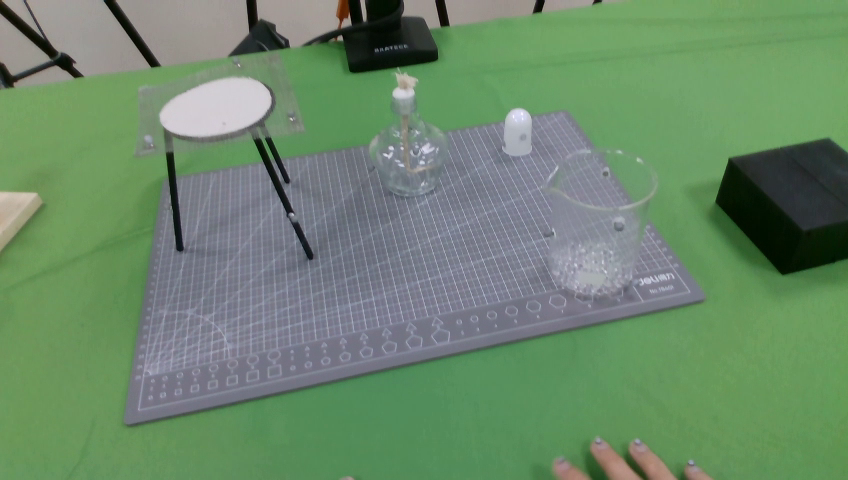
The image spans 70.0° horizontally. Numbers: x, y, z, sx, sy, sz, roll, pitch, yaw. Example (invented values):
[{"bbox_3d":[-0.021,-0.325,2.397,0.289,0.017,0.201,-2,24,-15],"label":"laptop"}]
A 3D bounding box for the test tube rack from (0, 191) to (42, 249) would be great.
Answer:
[{"bbox_3d":[-0.445,0.010,0.518,0.066,0.086,0.240,3,44,7],"label":"test tube rack"}]

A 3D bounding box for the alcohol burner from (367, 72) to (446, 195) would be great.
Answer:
[{"bbox_3d":[-0.018,-0.104,0.578,0.078,0.120,0.077,-3,42,3],"label":"alcohol burner"}]

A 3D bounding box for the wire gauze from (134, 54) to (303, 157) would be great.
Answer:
[{"bbox_3d":[-0.167,-0.109,0.483,0.125,0.011,0.120,-15,44,-10],"label":"wire gauze"}]

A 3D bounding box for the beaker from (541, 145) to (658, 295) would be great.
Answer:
[{"bbox_3d":[0.133,-0.012,0.479,0.084,0.101,0.073,-3,43,3],"label":"beaker"}]

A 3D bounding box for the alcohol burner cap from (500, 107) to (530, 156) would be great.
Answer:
[{"bbox_3d":[0.096,-0.115,0.633,0.034,0.048,0.033,-3,43,3],"label":"alcohol burner cap"}]

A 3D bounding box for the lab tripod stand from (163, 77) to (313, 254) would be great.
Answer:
[{"bbox_3d":[-0.163,-0.060,0.529,0.148,0.133,0.147,-3,45,3],"label":"lab tripod stand"}]
